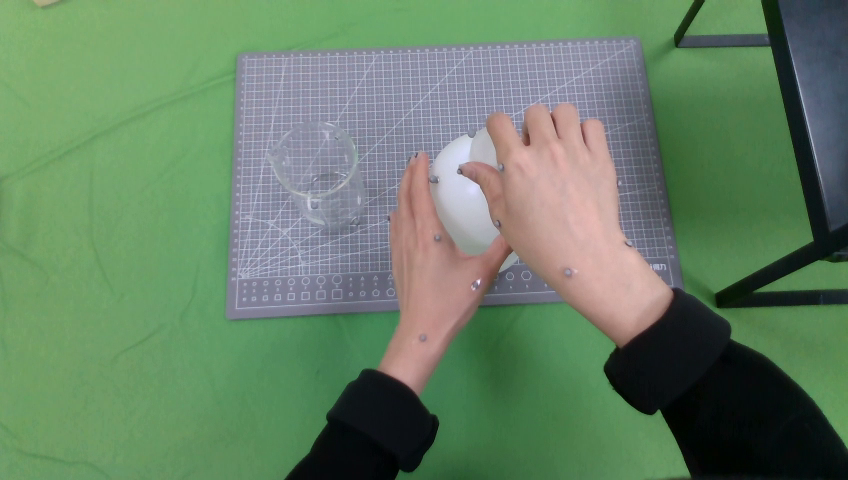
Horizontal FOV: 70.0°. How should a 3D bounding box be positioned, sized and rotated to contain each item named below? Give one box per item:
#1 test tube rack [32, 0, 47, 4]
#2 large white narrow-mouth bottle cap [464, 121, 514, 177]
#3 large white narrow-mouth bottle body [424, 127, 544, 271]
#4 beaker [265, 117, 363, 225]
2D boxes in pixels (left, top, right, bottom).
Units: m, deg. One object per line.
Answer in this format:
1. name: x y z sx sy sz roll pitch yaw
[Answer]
1. test tube rack: -0.349 -0.358 0.677 0.242 0.085 0.066 -23 74 -7
2. large white narrow-mouth bottle cap: 0.048 -0.065 0.442 0.038 0.024 0.037 0 74 1
3. large white narrow-mouth bottle body: 0.051 -0.040 0.525 0.102 0.195 0.101 0 73 1
4. beaker: -0.100 -0.061 0.580 0.084 0.101 0.073 7 73 3
